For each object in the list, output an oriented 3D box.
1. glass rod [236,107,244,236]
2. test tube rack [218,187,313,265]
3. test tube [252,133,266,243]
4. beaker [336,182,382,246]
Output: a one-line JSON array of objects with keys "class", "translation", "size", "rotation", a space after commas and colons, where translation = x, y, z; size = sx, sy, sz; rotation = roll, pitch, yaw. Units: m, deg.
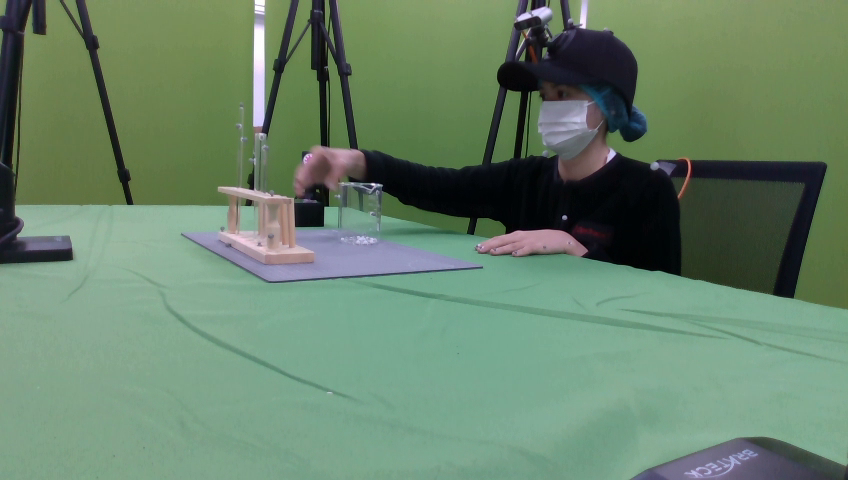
[{"class": "glass rod", "translation": [-0.282, -0.103, 0.924], "size": [0.008, 0.199, 0.008], "rotation": [2, 2, 0]}, {"class": "test tube rack", "translation": [-0.235, -0.027, 0.872], "size": [0.067, 0.085, 0.241], "rotation": [-1, 8, -32]}, {"class": "test tube", "translation": [-0.225, -0.070, 0.826], "size": [0.017, 0.150, 0.017], "rotation": [2, 2, 0]}, {"class": "beaker", "translation": [-0.107, -0.043, 0.996], "size": [0.074, 0.100, 0.083], "rotation": [-2, 10, -29]}]
